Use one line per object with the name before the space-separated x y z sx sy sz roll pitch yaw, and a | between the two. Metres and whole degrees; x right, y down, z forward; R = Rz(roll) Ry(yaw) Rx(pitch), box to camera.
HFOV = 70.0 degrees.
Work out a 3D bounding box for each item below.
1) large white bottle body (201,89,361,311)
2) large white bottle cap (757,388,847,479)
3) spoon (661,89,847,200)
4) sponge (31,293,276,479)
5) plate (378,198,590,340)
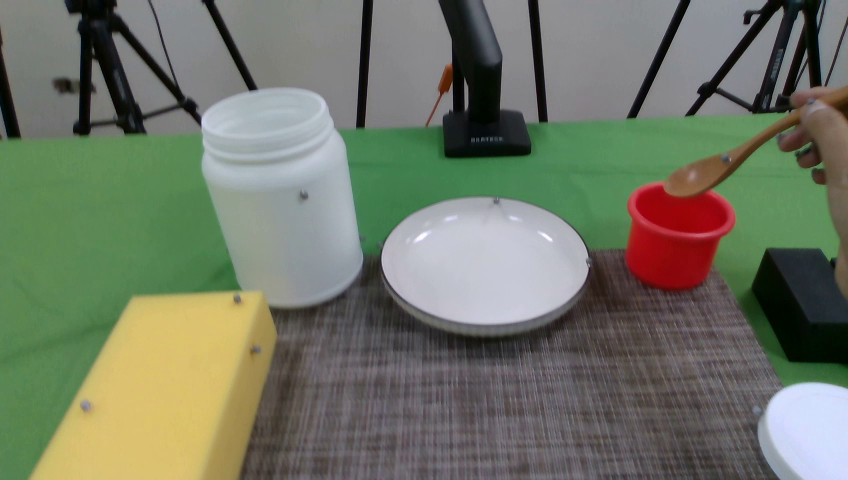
large white bottle body | -0.135 -0.039 0.585 0.130 0.186 0.129 -3 35 2
large white bottle cap | 0.310 0.158 0.446 0.115 0.018 0.113 1 38 0
spoon | 0.241 -0.071 0.410 0.022 0.194 0.041 36 59 -10
sponge | -0.197 0.132 0.469 0.118 0.061 0.205 -3 37 2
plate | 0.059 0.028 0.609 0.209 0.038 0.207 -1 37 1
